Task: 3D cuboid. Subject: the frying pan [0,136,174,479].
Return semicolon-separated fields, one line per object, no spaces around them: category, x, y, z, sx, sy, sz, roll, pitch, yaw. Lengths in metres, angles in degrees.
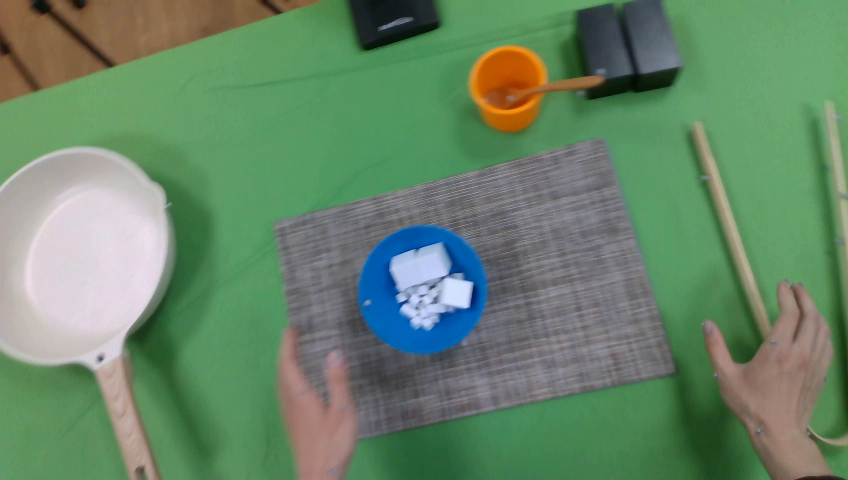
frying pan;-0.420;0.092;0.775;0.307;0.103;0.483;-29;67;3

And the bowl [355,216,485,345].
bowl;0.001;0.053;0.726;0.151;0.077;0.150;-2;78;9

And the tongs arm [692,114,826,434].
tongs arm;0.377;0.030;0.702;0.028;0.028;0.385;-14;77;5

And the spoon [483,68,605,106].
spoon;0.136;-0.186;0.721;0.022;0.192;0.041;30;79;-29

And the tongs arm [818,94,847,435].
tongs arm;0.456;0.021;0.686;0.050;0.027;0.383;-2;79;10
